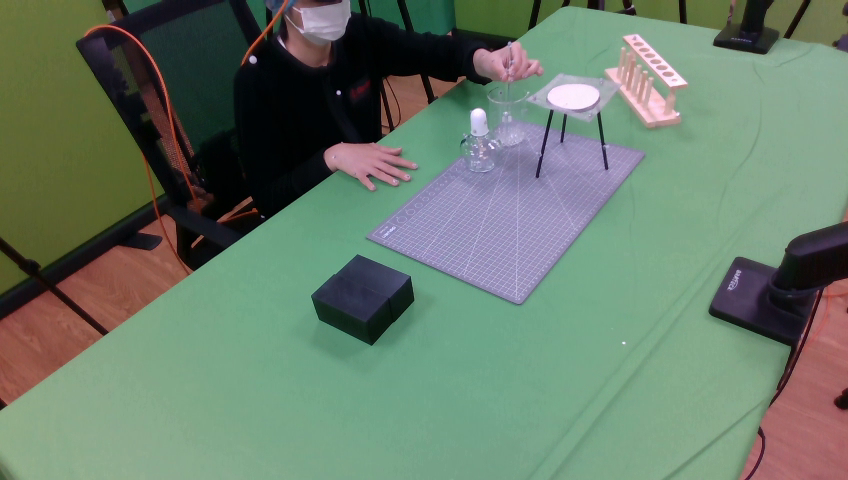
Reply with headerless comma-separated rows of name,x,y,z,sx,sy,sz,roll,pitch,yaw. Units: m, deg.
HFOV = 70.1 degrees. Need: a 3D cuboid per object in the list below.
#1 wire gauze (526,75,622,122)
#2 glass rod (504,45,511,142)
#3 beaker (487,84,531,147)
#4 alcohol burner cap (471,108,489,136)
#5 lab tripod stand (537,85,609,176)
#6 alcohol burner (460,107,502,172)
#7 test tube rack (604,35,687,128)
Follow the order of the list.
wire gauze,0.255,-0.248,1.030,0.124,0.011,0.122,24,51,32
glass rod,0.154,-0.263,1.108,0.008,0.200,0.008,-3,45,3
beaker,0.163,-0.237,1.161,0.084,0.101,0.073,-10,41,-3
alcohol burner cap,0.098,-0.211,1.074,0.034,0.048,0.033,-6,42,6
lab tripod stand,0.259,-0.192,1.068,0.148,0.132,0.147,-4,42,4
alcohol burner,0.102,-0.185,1.098,0.078,0.119,0.077,-6,40,5
test tube rack,0.447,-0.330,1.241,0.067,0.085,0.241,-9,41,-2
